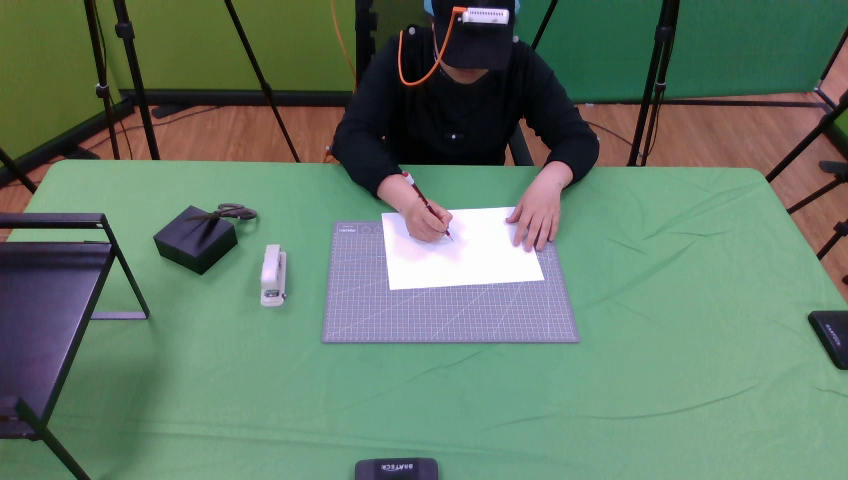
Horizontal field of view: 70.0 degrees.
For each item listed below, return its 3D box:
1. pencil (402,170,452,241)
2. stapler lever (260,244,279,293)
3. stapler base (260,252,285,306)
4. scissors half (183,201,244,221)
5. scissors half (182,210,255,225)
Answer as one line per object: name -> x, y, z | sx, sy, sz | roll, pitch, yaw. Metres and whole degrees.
pencil -> 0.009, -0.061, 1.151 | 0.012, 0.195, 0.012 | -22, 38, 19
stapler lever -> -0.278, 0.045, 1.096 | 0.027, 0.040, 0.117 | -2, 44, -9
stapler base -> -0.279, 0.064, 1.113 | 0.041, 0.024, 0.129 | -2, 44, -9
scissors half -> -0.405, -0.054, 1.163 | 0.040, 0.013, 0.175 | 30, 18, 7
scissors half -> -0.389, -0.042, 1.158 | 0.040, 0.013, 0.175 | 42, 22, 22
